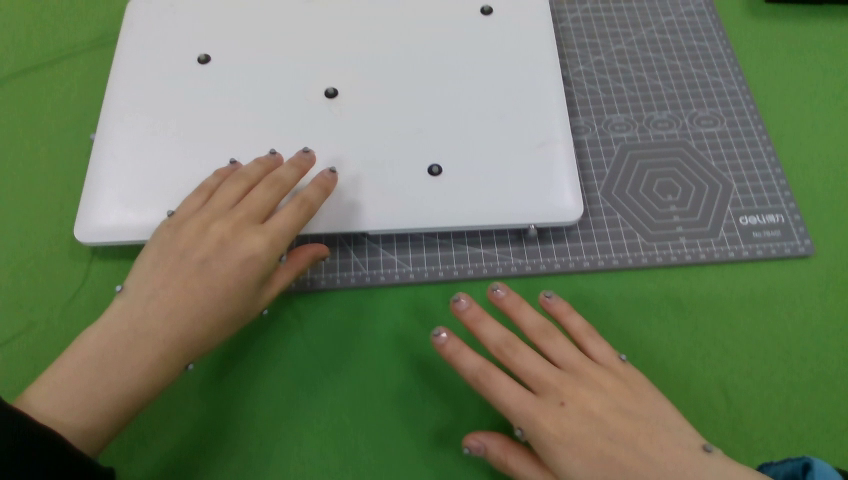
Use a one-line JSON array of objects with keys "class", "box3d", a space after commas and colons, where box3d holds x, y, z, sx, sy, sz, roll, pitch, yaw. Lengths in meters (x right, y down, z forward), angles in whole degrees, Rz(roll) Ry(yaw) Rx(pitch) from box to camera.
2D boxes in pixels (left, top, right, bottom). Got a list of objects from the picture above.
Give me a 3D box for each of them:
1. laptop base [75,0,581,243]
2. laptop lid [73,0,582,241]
[{"class": "laptop base", "box3d": [-0.070, -0.107, 0.472, 0.354, 0.023, 0.233, -2, 66, -1]}, {"class": "laptop lid", "box3d": [-0.070, -0.111, 0.460, 0.357, 0.013, 0.239, -1, 65, 0]}]
